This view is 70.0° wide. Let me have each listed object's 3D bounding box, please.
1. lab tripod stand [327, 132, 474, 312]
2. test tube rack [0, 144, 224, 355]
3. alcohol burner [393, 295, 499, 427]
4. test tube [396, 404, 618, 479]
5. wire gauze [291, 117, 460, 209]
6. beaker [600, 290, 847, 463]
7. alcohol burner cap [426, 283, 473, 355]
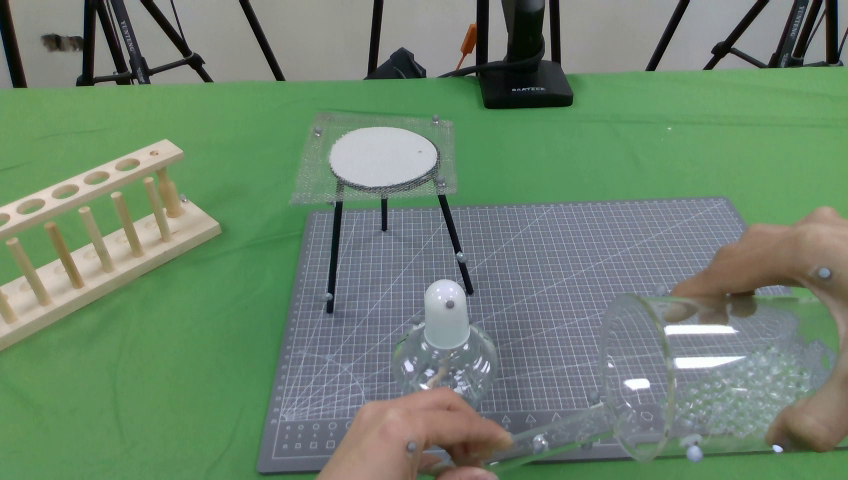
[{"bbox_3d":[-0.025,-0.014,0.523,0.148,0.132,0.147,1,39,0],"label":"lab tripod stand"},{"bbox_3d":[-0.313,0.006,0.546,0.066,0.086,0.242,31,50,33],"label":"test tube rack"},{"bbox_3d":[0.016,0.078,0.428,0.078,0.120,0.077,0,42,0],"label":"alcohol burner"},{"bbox_3d":[0.034,0.122,0.332,0.150,0.017,0.017,-29,33,24],"label":"test tube"},{"bbox_3d":[-0.034,-0.064,0.478,0.121,0.011,0.124,1,41,0],"label":"wire gauze"},{"bbox_3d":[0.142,0.064,0.280,0.100,0.084,0.073,-1,48,-5],"label":"beaker"},{"bbox_3d":[0.016,0.050,0.405,0.034,0.048,0.033,-2,40,2],"label":"alcohol burner cap"}]
